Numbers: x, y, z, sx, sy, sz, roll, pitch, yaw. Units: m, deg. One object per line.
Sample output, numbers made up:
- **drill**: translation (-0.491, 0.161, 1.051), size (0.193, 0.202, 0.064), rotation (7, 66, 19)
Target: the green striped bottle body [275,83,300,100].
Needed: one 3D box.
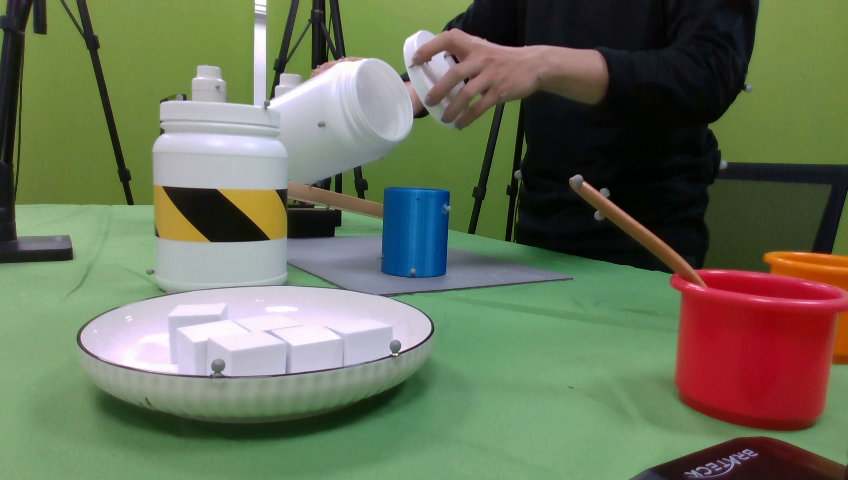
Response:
- **green striped bottle body**: translation (-0.269, -0.269, 1.221), size (0.063, 0.119, 0.063), rotation (2, 7, 0)

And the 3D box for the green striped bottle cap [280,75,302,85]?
- **green striped bottle cap**: translation (-0.267, -0.320, 1.216), size (0.044, 0.020, 0.044), rotation (2, 8, 0)

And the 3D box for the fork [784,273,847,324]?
- **fork**: translation (0.332, 0.018, 0.444), size (0.028, 0.018, 0.207), rotation (-2, -35, -15)

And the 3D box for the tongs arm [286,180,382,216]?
- **tongs arm**: translation (-0.122, -0.066, 1.147), size (0.387, 0.026, 0.050), rotation (11, -2, -37)

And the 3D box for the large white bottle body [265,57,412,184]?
- **large white bottle body**: translation (-0.119, -0.159, 0.814), size (0.184, 0.130, 0.131), rotation (-16, -5, 38)

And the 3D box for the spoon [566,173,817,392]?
- **spoon**: translation (0.161, 0.024, 0.370), size (0.193, 0.021, 0.042), rotation (47, 17, 3)

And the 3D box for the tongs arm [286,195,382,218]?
- **tongs arm**: translation (-0.165, -0.074, 1.216), size (0.389, 0.027, 0.028), rotation (11, -6, -24)

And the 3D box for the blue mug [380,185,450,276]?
- **blue mug**: translation (-0.018, -0.016, 0.764), size (0.083, 0.106, 0.116), rotation (-1, 8, -25)

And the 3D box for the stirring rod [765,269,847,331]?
- **stirring rod**: translation (0.351, 0.020, 0.484), size (0.176, 0.006, 0.014), rotation (-40, -7, 12)

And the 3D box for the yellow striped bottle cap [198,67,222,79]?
- **yellow striped bottle cap**: translation (-0.412, -0.320, 1.162), size (0.044, 0.018, 0.044), rotation (0, 5, 0)

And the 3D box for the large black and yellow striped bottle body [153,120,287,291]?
- **large black and yellow striped bottle body**: translation (-0.208, -0.042, 0.626), size (0.131, 0.184, 0.130), rotation (2, 7, 0)

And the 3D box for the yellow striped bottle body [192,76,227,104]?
- **yellow striped bottle body**: translation (-0.414, -0.268, 1.169), size (0.063, 0.120, 0.063), rotation (2, 7, 0)

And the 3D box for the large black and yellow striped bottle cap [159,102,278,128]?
- **large black and yellow striped bottle cap**: translation (-0.207, -0.125, 0.615), size (0.115, 0.019, 0.115), rotation (2, 6, 0)

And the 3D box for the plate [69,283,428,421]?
- **plate**: translation (-0.102, 0.066, 0.380), size (0.208, 0.039, 0.207), rotation (2, 7, 0)

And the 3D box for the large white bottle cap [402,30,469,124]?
- **large white bottle cap**: translation (0.016, -0.193, 0.716), size (0.018, 0.114, 0.115), rotation (-24, -7, 30)
